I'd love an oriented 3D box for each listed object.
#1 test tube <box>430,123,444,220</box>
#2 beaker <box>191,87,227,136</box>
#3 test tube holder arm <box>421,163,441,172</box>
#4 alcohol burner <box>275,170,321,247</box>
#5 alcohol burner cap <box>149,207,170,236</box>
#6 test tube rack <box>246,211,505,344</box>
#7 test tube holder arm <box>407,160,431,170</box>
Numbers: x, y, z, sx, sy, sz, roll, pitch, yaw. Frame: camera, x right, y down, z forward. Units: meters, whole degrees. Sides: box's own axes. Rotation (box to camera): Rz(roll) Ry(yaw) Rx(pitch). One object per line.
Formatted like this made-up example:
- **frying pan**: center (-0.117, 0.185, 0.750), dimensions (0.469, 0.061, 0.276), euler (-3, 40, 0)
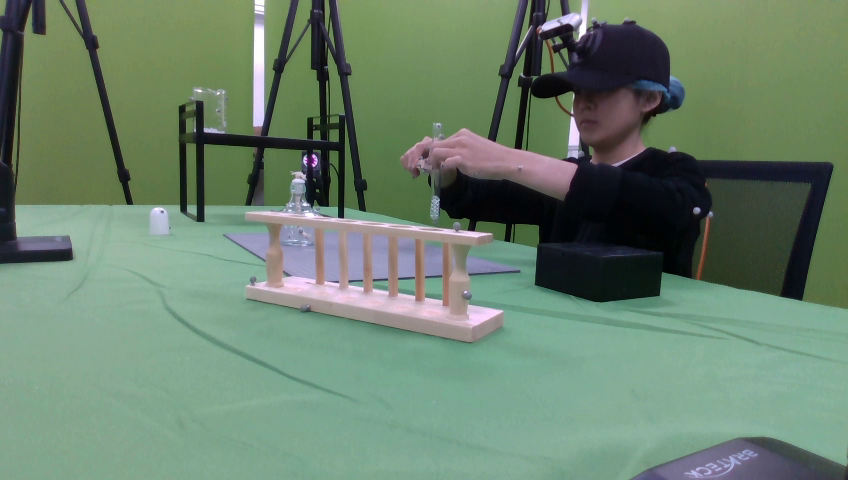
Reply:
- **test tube**: center (0.020, -0.105, 0.934), dimensions (0.017, 0.150, 0.017), euler (2, 10, 0)
- **beaker**: center (-0.476, -0.284, 1.345), dimensions (0.074, 0.100, 0.083), euler (-3, 10, -37)
- **test tube holder arm**: center (0.006, -0.122, 0.999), dimensions (0.010, 0.015, 0.087), euler (13, 5, -23)
- **alcohol burner**: center (-0.199, -0.049, 0.948), dimensions (0.078, 0.119, 0.078), euler (1, 7, 0)
- **alcohol burner cap**: center (-0.445, -0.032, 1.019), dimensions (0.034, 0.048, 0.034), euler (4, 8, 0)
- **test tube rack**: center (-0.049, 0.025, 0.547), dimensions (0.241, 0.085, 0.067), euler (7, 8, 29)
- **test tube holder arm**: center (-0.011, -0.129, 1.040), dimensions (0.013, 0.015, 0.178), euler (15, 4, -13)
